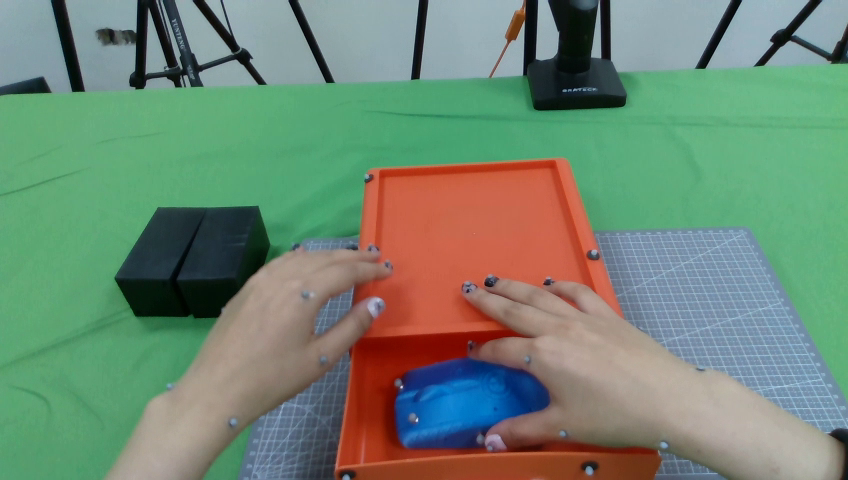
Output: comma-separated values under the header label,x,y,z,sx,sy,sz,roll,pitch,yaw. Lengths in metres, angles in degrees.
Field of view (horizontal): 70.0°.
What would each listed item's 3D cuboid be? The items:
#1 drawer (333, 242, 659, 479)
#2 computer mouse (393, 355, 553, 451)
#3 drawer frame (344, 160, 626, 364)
label,x,y,z,sx,sy,sz,roll,pitch,yaw
drawer,0.043,0.091,0.453,0.194,0.074,0.209,-3,41,2
computer mouse,0.034,0.118,0.442,0.117,0.041,0.062,-5,44,6
drawer frame,0.042,0.026,0.524,0.202,0.083,0.211,-4,41,1
